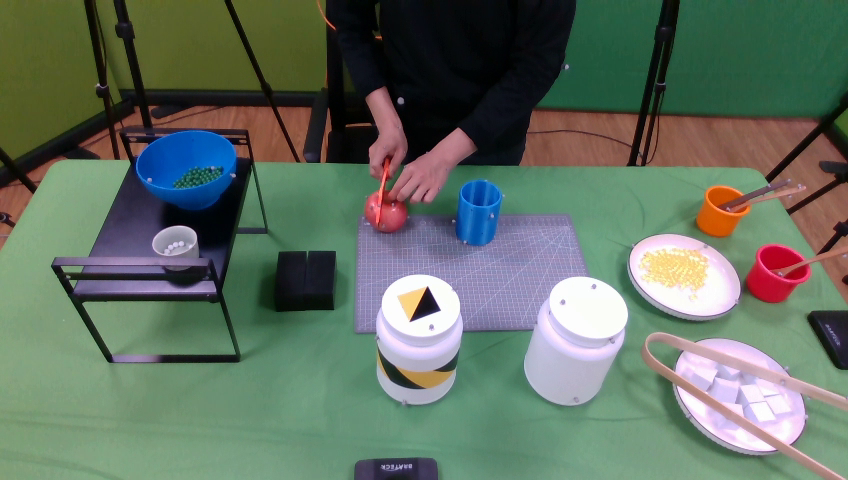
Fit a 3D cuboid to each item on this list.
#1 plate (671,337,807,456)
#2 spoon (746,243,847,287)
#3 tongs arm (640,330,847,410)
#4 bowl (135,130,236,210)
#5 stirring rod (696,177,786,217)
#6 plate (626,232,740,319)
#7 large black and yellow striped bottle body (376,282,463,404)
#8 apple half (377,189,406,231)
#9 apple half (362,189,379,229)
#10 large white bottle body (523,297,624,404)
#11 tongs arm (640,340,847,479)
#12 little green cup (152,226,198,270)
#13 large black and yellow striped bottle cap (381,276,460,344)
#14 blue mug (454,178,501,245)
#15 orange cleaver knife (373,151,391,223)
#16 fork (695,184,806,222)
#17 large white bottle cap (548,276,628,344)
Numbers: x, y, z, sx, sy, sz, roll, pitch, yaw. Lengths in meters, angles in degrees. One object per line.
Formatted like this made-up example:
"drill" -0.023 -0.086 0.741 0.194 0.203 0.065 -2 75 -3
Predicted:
"plate" 0.504 0.254 0.984 0.208 0.039 0.206 2 46 -2
"spoon" 0.702 0.044 1.126 0.194 0.022 0.041 -29 38 30
"tongs arm" 0.543 0.225 0.969 0.384 0.026 0.050 22 52 13
"bowl" -0.375 -0.102 0.978 0.151 0.077 0.150 3 46 -2
"stirring rod" 0.648 -0.087 1.244 0.176 0.006 0.014 -25 50 29
"plate" 0.489 0.071 1.157 0.209 0.038 0.208 3 46 -3
"large black and yellow striped bottle body" -0.010 0.155 0.937 0.131 0.185 0.130 2 47 -2
"apple half" -0.063 -0.057 1.207 0.053 0.075 0.080 7 42 -4
"apple half" -0.106 -0.058 1.206 0.033 0.082 0.081 0 46 0
"large white bottle body" 0.235 0.159 0.952 0.131 0.185 0.130 2 47 -2
"tongs arm" 0.500 0.277 0.919 0.386 0.028 0.028 34 59 22
"little green cup" -0.364 0.013 0.894 0.061 0.039 0.061 3 46 -3
"large black and yellow striped bottle cap" -0.005 0.099 0.875 0.115 0.019 0.114 2 45 -2
"blue mug" 0.106 -0.067 1.208 0.082 0.106 0.116 5 46 1
"orange cleaver knife" -0.084 -0.109 1.217 0.012 0.077 0.210 11 34 -3
"fork" 0.658 -0.074 1.229 0.207 0.019 0.028 -24 33 36
"large white bottle cap" 0.240 0.100 0.890 0.115 0.018 0.114 3 47 -3
